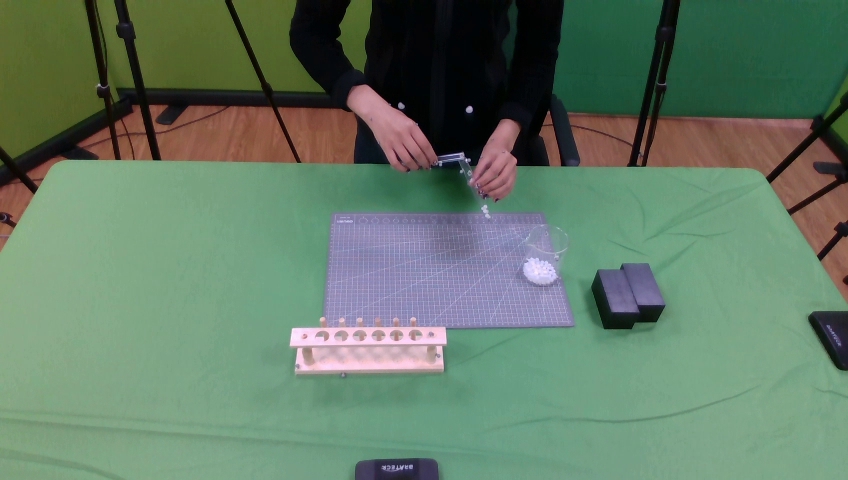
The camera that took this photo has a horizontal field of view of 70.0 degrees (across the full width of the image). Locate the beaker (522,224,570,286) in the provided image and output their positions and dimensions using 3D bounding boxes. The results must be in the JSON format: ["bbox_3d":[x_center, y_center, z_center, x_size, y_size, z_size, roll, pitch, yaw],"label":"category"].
[{"bbox_3d":[0.221,0.032,1.129,0.084,0.101,0.073,-6,46,-9],"label":"beaker"}]

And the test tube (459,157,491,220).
[{"bbox_3d":[0.097,-0.094,1.144,0.017,0.151,0.017,-18,38,14],"label":"test tube"}]

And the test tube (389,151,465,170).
[{"bbox_3d":[0.004,-0.147,1.124,0.150,0.017,0.017,-6,42,23],"label":"test tube"}]

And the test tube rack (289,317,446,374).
[{"bbox_3d":[-0.089,0.167,0.987,0.242,0.085,0.066,0,46,-4],"label":"test tube rack"}]
